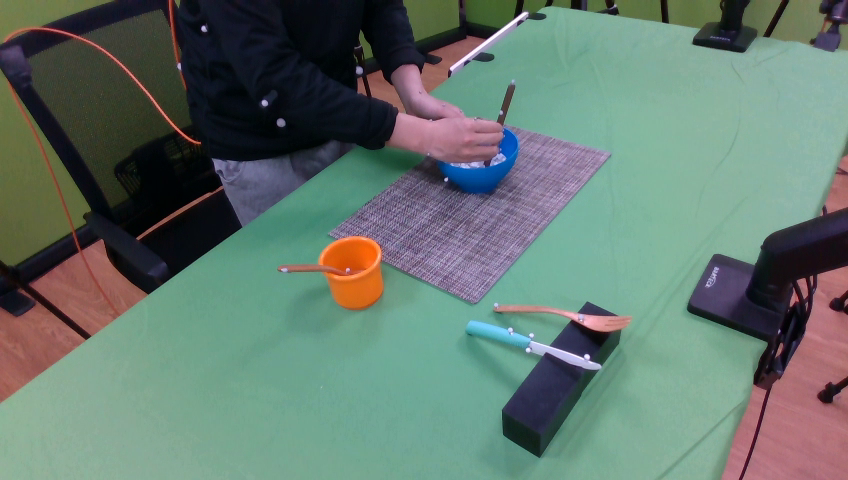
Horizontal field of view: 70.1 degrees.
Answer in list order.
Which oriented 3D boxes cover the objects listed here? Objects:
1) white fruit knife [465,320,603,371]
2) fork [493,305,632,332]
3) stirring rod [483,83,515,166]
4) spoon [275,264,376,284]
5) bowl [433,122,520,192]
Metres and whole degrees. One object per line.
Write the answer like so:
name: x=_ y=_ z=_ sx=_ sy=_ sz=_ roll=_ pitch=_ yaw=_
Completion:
white fruit knife: x=0.128 y=0.129 z=0.749 sx=0.205 sy=0.027 sz=0.016 roll=10 pitch=44 yaw=43
fork: x=0.171 y=0.097 z=0.783 sx=0.205 sy=0.019 sz=0.028 roll=4 pitch=41 yaw=43
stirring rod: x=0.122 y=-0.179 z=1.010 sx=0.014 sy=0.176 sz=0.005 roll=-16 pitch=46 yaw=-36
spoon: x=-0.133 y=0.044 z=0.839 sx=0.041 sy=0.195 sz=0.021 roll=24 pitch=94 yaw=33
bowl: x=0.093 y=-0.137 z=1.064 sx=0.151 sy=0.077 sz=0.150 roll=-4 pitch=41 yaw=4
